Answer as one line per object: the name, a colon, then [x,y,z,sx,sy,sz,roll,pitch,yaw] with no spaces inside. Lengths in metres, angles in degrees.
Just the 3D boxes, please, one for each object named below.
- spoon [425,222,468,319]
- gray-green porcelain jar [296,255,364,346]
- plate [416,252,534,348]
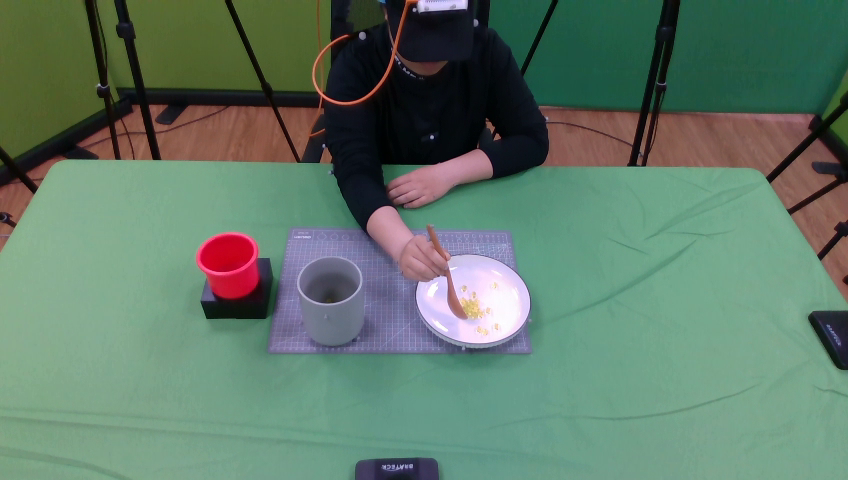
spoon: [0.036,0.054,1.006,0.021,0.194,0.041,-29,25,-25]
gray-green porcelain jar: [-0.153,0.106,1.008,0.106,0.127,0.105,2,46,-2]
plate: [0.090,0.109,1.084,0.208,0.039,0.206,2,46,-2]
